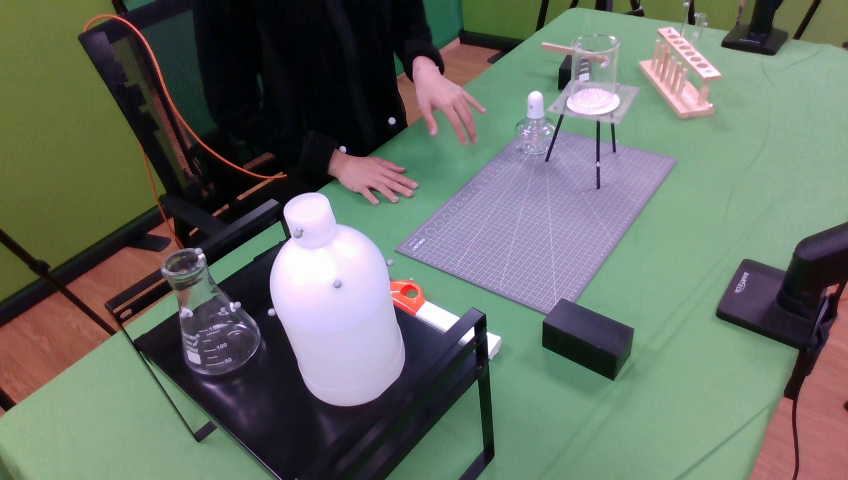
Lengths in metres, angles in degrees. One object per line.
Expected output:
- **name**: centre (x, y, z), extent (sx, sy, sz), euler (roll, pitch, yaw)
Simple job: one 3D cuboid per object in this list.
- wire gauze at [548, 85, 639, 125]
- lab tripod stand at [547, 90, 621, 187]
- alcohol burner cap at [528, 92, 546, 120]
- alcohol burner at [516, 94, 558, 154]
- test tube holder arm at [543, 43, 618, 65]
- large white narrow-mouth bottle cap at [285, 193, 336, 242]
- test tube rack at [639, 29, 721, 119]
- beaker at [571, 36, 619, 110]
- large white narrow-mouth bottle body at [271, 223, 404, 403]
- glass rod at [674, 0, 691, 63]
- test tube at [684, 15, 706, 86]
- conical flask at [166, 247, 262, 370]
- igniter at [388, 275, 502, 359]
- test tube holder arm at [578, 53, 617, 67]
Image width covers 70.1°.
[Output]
- **wire gauze**: centre (0.286, -0.233, 1.020), extent (0.124, 0.011, 0.122), euler (15, 43, 30)
- **lab tripod stand**: centre (0.289, -0.184, 1.062), extent (0.148, 0.132, 0.147), euler (-6, 41, 6)
- **alcohol burner cap**: centre (0.206, -0.249, 1.112), extent (0.034, 0.048, 0.033), euler (-6, 34, 5)
- **alcohol burner**: centre (0.212, -0.221, 1.135), extent (0.078, 0.119, 0.077), euler (-5, 43, 5)
- **test tube holder arm**: centre (0.344, -0.413, 1.341), extent (0.177, 0.015, 0.013), euler (25, 51, 31)
- **large white narrow-mouth bottle cap**: centre (-0.087, -0.018, 0.467), extent (0.038, 0.024, 0.037), euler (-5, 40, 4)
- **test tube rack**: centre (0.527, -0.351, 1.262), extent (0.067, 0.085, 0.241), euler (-8, 40, 1)
- **beaker**: centre (0.281, -0.273, 0.992), extent (0.084, 0.101, 0.073), euler (-24, 42, -16)
- **large white narrow-mouth bottle body**: centre (-0.077, 0.048, 0.525), extent (0.102, 0.195, 0.101), euler (-5, 40, 5)
- **glass rod**: centre (0.537, -0.437, 1.257), extent (0.008, 0.200, 0.008), euler (0, 39, 1)
- **test tube**: centre (0.541, -0.378, 1.216), extent (0.017, 0.151, 0.017), euler (-2, 44, 3)
- **conical flask**: centre (-0.209, 0.063, 0.585), extent (0.075, 0.122, 0.075), euler (-5, 40, 4)
- **igniter**: centre (-0.009, 0.094, 0.870), extent (0.274, 0.025, 0.057), euler (25, 61, 33)
- **test tube holder arm**: centre (0.376, -0.393, 1.314), extent (0.087, 0.015, 0.010), euler (26, 51, 32)
